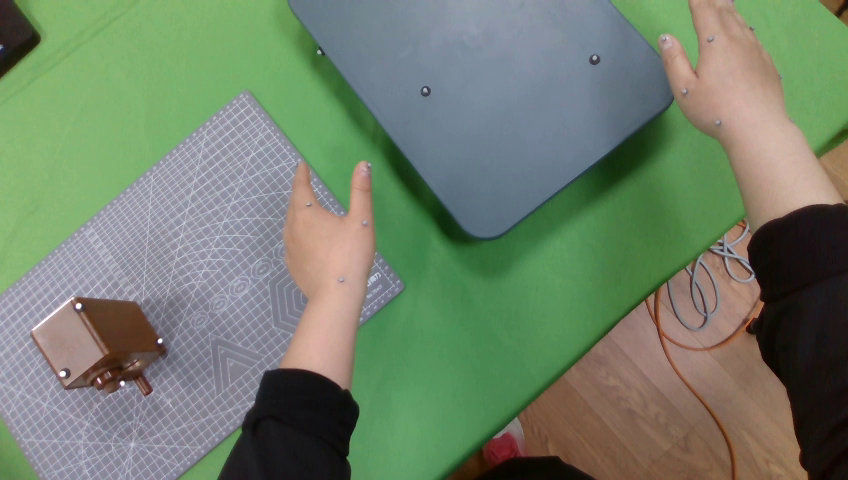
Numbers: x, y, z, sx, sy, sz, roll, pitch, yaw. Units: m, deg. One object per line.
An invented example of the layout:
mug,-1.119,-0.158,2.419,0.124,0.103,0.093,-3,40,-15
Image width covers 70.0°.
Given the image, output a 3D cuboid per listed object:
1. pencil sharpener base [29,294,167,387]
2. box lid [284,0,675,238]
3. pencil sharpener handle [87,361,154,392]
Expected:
pencil sharpener base,-0.330,0.105,0.626,0.061,0.107,0.076,-39,80,0
box lid,0.047,-0.213,0.630,0.263,0.015,0.370,-38,80,1
pencil sharpener handle,-0.299,0.141,0.605,0.036,0.068,0.030,-40,80,5
